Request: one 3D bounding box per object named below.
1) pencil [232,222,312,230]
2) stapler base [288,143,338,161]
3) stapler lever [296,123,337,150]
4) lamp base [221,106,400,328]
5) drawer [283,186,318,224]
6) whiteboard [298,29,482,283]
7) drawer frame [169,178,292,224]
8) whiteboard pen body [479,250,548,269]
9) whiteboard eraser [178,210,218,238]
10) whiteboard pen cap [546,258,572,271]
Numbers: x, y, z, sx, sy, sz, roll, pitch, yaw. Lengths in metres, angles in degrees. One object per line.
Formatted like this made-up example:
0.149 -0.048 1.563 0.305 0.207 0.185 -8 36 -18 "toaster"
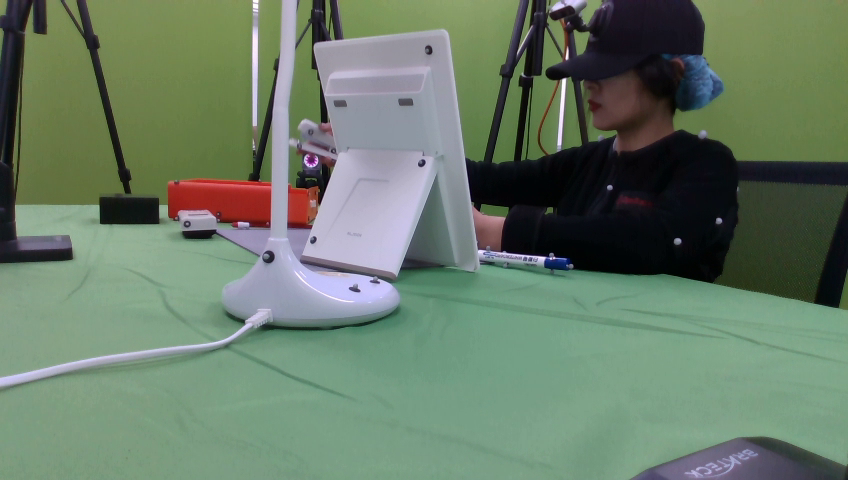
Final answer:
-0.261 -0.024 1.141 0.195 0.012 0.012 2 7 -26 "pencil"
-0.216 -0.187 1.263 0.131 0.024 0.041 13 12 -24 "stapler base"
-0.207 -0.210 1.260 0.118 0.040 0.026 13 12 -24 "stapler lever"
-0.101 -0.023 0.531 0.160 0.180 0.179 4 10 10 "lamp base"
-0.342 -0.082 1.310 0.212 0.073 0.194 1 8 -4 "drawer"
-0.075 -0.082 0.742 0.216 0.305 0.144 9 29 37 "whiteboard"
-0.406 -0.087 1.304 0.214 0.082 0.201 1 8 -5 "drawer frame"
0.130 0.028 0.827 0.140 0.017 0.017 6 8 39 "whiteboard pen body"
-0.380 -0.027 1.014 0.056 0.042 0.112 0 8 -25 "whiteboard eraser"
0.175 0.032 0.790 0.033 0.018 0.018 3 6 37 "whiteboard pen cap"
